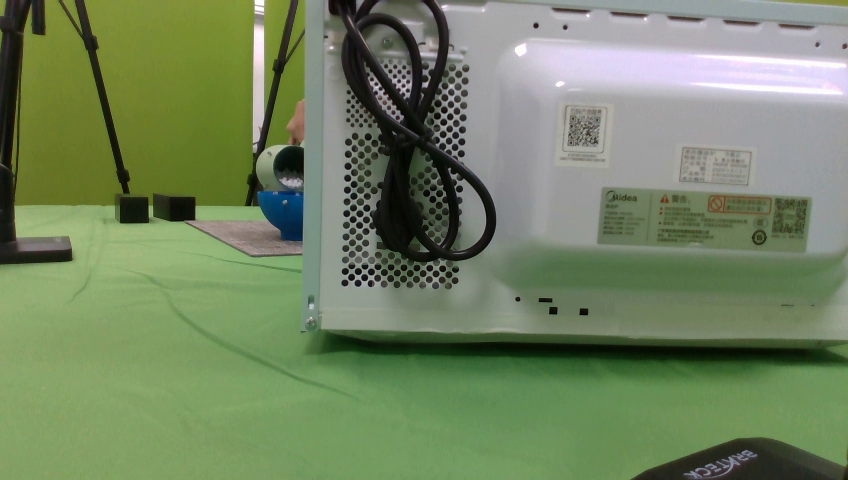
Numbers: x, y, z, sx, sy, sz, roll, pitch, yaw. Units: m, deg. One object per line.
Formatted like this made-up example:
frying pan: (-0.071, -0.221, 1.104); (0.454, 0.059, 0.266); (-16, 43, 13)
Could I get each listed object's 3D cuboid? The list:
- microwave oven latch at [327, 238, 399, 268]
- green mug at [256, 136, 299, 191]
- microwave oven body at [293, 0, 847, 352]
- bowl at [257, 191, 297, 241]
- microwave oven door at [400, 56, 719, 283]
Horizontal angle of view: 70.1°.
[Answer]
microwave oven latch: (-0.069, 0.015, 0.694); (0.079, 0.029, 0.030); (3, 7, -3)
green mug: (-0.246, -0.145, 1.114); (0.093, 0.125, 0.104); (32, -13, -26)
microwave oven body: (0.122, -0.055, 0.550); (0.442, 0.260, 0.325); (3, 7, -5)
bowl: (-0.207, -0.041, 1.027); (0.151, 0.077, 0.151); (3, 7, 0)
microwave oven door: (0.155, -0.077, 0.697); (0.356, 0.243, 0.039); (2, 8, -5)
